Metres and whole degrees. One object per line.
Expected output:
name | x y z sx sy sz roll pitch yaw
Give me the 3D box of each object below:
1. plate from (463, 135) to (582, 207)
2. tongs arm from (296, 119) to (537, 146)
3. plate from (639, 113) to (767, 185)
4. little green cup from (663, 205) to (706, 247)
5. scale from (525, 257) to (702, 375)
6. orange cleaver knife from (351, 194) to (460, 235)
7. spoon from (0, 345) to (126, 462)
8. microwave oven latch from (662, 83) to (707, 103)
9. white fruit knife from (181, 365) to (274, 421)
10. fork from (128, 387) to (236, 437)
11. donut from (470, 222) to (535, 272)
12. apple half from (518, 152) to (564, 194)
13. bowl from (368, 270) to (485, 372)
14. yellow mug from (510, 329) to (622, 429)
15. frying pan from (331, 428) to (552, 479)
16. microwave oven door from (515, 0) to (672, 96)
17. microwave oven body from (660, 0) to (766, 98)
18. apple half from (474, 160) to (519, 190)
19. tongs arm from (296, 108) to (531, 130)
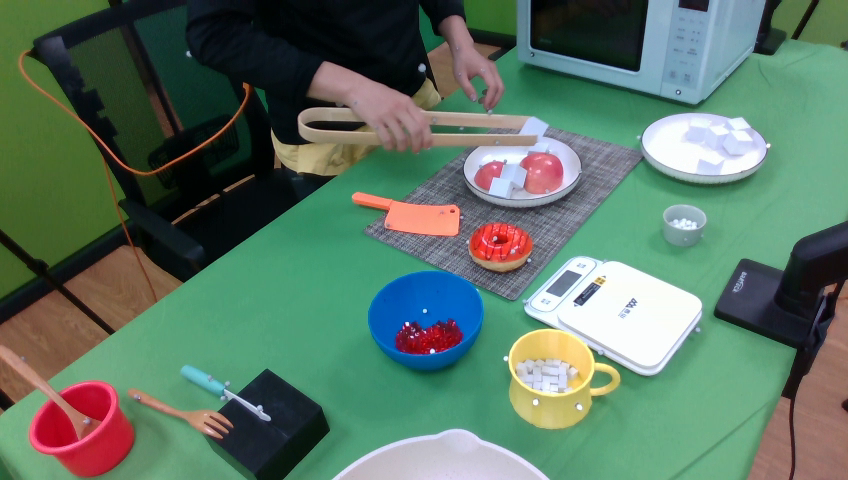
plate | 0.173 -0.119 1.070 0.209 0.038 0.208 -4 40 4
tongs arm | -0.008 -0.168 0.970 0.389 0.028 0.028 1 52 -8
plate | 0.489 -0.157 1.074 0.207 0.039 0.206 -4 40 4
little green cup | 0.396 -0.020 0.926 0.061 0.039 0.061 -4 40 4
scale | 0.254 0.091 0.821 0.199 0.032 0.149 28 51 35
orange cleaver knife | -0.036 -0.044 1.029 0.210 0.012 0.077 10 48 18
spoon | -0.434 0.192 0.720 0.194 0.021 0.042 47 53 -7
microwave oven latch | 0.517 -0.296 1.204 0.078 0.029 0.030 27 52 35
white fruit knife | -0.245 0.187 0.747 0.205 0.027 0.016 9 41 40
fork | -0.305 0.207 0.744 0.206 0.019 0.028 3 41 36
donut | 0.119 0.009 0.923 0.099 0.048 0.098 -4 38 3
apple half | 0.204 -0.124 1.048 0.075 0.053 0.080 -7 41 -3
bowl | 0.007 0.118 0.791 0.151 0.077 0.150 -4 40 4
yellow mug | 0.168 0.164 0.721 0.130 0.064 0.099 0 40 8
frying pan | -0.089 0.306 0.564 0.487 0.103 0.306 10 41 7
microwave oven door | 0.343 -0.454 1.259 0.353 0.245 0.039 26 51 33
microwave oven body | 0.472 -0.513 1.317 0.438 0.261 0.327 26 51 34
apple half | 0.130 -0.120 1.067 0.081 0.033 0.081 -3 35 3
tongs arm | -0.011 -0.190 0.989 0.386 0.026 0.050 3 48 -6
